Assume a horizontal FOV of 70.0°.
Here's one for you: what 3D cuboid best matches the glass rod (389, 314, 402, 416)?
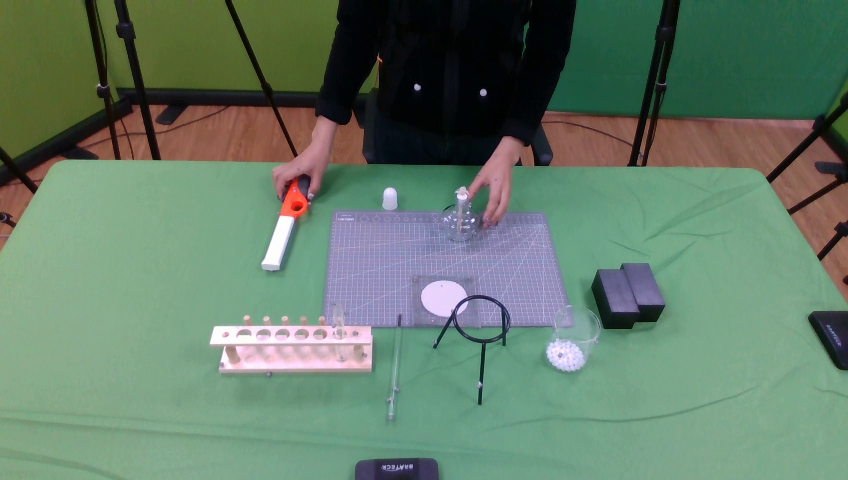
[{"bbox_3d":[-0.048,0.203,1.008,0.008,0.008,0.198,4,45,0],"label":"glass rod"}]

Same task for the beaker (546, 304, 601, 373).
[{"bbox_3d":[0.242,0.167,1.001,0.084,0.101,0.073,-32,55,-28],"label":"beaker"}]

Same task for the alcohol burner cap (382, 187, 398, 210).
[{"bbox_3d":[-0.072,-0.090,1.266,0.034,0.048,0.033,2,47,-2],"label":"alcohol burner cap"}]

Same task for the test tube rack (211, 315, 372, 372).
[{"bbox_3d":[-0.208,0.163,0.982,0.242,0.085,0.066,1,46,-4],"label":"test tube rack"}]

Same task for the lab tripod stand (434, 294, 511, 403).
[{"bbox_3d":[0.087,0.164,0.969,0.148,0.132,0.147,3,47,-3],"label":"lab tripod stand"}]

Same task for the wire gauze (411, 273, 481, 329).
[{"bbox_3d":[0.038,0.108,1.103,0.125,0.011,0.120,2,47,-3],"label":"wire gauze"}]

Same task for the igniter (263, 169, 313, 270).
[{"bbox_3d":[-0.270,-0.050,1.216,0.057,0.025,0.275,5,48,3],"label":"igniter"}]

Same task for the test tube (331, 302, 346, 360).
[{"bbox_3d":[-0.132,0.144,0.938,0.017,0.151,0.017,2,49,-3],"label":"test tube"}]

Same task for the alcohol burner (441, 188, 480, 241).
[{"bbox_3d":[0.073,-0.055,1.189,0.078,0.120,0.077,1,48,-1],"label":"alcohol burner"}]
